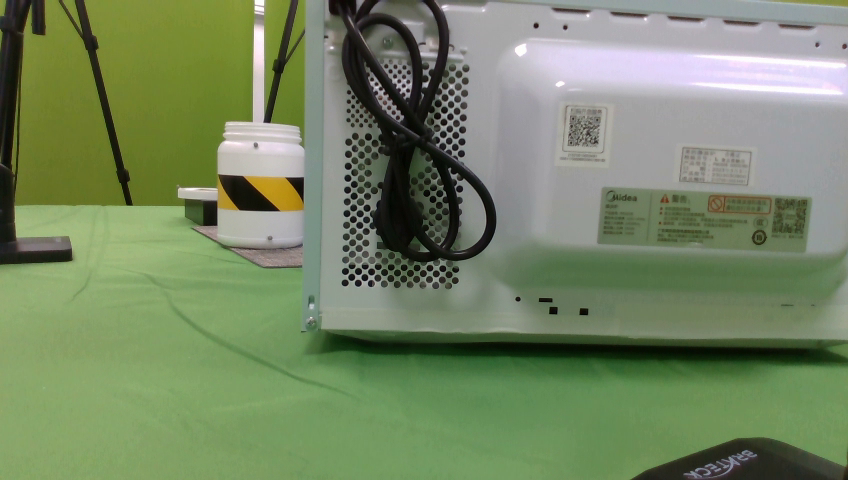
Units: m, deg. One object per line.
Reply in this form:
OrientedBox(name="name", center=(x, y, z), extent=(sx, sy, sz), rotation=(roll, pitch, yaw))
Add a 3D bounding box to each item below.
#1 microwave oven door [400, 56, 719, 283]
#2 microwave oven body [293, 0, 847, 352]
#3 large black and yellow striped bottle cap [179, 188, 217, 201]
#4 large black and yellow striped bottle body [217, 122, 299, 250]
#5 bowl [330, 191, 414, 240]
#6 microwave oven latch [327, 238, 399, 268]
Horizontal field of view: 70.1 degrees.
OrientedBox(name="microwave oven door", center=(0.155, -0.078, 0.698), extent=(0.356, 0.243, 0.039), rotation=(2, 8, -5))
OrientedBox(name="microwave oven body", center=(0.122, -0.055, 0.550), extent=(0.442, 0.260, 0.325), rotation=(3, 7, -5))
OrientedBox(name="large black and yellow striped bottle cap", center=(-0.434, -0.093, 1.226), extent=(0.115, 0.019, 0.115), rotation=(3, 9, 0))
OrientedBox(name="large black and yellow striped bottle body", center=(-0.250, -0.084, 0.931), extent=(0.131, 0.184, 0.130), rotation=(2, 7, 0))
OrientedBox(name="bowl", center=(-0.095, -0.044, 1.096), extent=(0.151, 0.077, 0.151), rotation=(3, 8, 0))
OrientedBox(name="microwave oven latch", center=(-0.069, 0.015, 0.694), extent=(0.079, 0.029, 0.030), rotation=(3, 7, -3))
